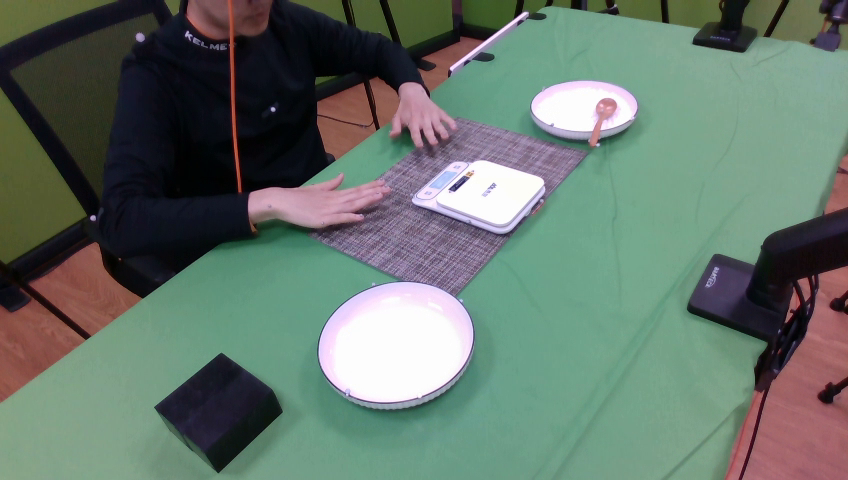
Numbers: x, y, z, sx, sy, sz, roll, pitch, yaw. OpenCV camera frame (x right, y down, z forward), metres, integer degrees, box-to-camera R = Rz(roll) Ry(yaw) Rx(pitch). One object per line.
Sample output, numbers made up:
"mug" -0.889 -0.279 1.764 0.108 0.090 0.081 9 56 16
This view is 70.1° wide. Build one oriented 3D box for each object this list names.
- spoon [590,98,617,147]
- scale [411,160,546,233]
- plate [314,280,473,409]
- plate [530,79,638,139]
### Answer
"spoon" 0.334 -0.225 1.145 0.041 0.022 0.194 11 37 20
"scale" 0.092 -0.083 1.039 0.199 0.032 0.149 22 48 30
"plate" -0.039 0.139 0.801 0.207 0.039 0.206 -4 41 4
"plate" 0.317 -0.257 1.210 0.209 0.038 0.208 -4 41 4
